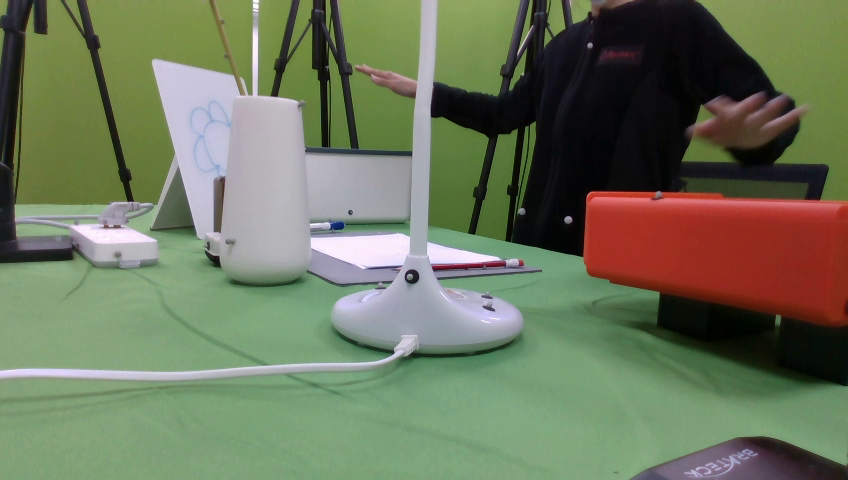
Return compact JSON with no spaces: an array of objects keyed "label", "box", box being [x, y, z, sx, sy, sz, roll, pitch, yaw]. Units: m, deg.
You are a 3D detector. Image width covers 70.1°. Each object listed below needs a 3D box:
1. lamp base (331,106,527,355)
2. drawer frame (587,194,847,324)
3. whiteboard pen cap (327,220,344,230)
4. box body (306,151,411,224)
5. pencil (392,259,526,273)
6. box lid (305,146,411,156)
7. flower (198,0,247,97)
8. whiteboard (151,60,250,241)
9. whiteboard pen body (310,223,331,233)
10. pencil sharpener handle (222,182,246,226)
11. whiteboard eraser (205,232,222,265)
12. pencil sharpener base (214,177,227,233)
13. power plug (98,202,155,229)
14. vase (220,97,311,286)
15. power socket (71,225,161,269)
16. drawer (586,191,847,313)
[{"label":"lamp base","box":[0.006,-0.012,0.478,0.161,0.180,0.179,2,10,2]},{"label":"drawer frame","box":[0.285,0.004,0.508,0.203,0.082,0.212,-1,6,-29]},{"label":"whiteboard pen cap","box":[-0.166,-0.027,1.124,0.018,0.018,0.033,9,10,41]},{"label":"box body","box":[-0.230,-0.126,1.371,0.366,0.160,0.253,-2,8,-33]},{"label":"pencil","box":[0.049,0.035,0.782,0.195,0.012,0.012,-2,9,-25]},{"label":"box lid","box":[-0.229,-0.200,1.361,0.373,0.015,0.262,-3,9,-32]},{"label":"flower","box":[-0.187,-0.133,0.648,0.038,0.362,0.044,0,22,43]},{"label":"whiteboard","box":[-0.408,-0.139,1.094,0.143,0.305,0.218,-15,-1,26]},{"label":"whiteboard pen body","box":[-0.207,-0.021,1.081,0.017,0.017,0.141,9,10,41]},{"label":"pencil sharpener handle","box":[-0.289,-0.055,0.912,0.036,0.067,0.030,-3,9,-29]},{"label":"whiteboard eraser","box":[-0.219,0.010,0.778,0.113,0.042,0.055,-3,7,-33]},{"label":"pencil sharpener base","box":[-0.265,-0.036,0.870,0.061,0.107,0.076,-2,8,-29]},{"label":"power plug","box":[-0.416,-0.027,0.848,0.073,0.052,0.035,0,8,-28]},{"label":"vase","box":[-0.172,-0.052,0.662,0.098,0.200,0.098,3,8,0]},{"label":"power socket","box":[-0.408,0.004,0.793,0.072,0.032,0.225,-2,8,-38]},{"label":"drawer","box":[0.281,0.001,0.512,0.195,0.073,0.210,0,8,-29]}]
